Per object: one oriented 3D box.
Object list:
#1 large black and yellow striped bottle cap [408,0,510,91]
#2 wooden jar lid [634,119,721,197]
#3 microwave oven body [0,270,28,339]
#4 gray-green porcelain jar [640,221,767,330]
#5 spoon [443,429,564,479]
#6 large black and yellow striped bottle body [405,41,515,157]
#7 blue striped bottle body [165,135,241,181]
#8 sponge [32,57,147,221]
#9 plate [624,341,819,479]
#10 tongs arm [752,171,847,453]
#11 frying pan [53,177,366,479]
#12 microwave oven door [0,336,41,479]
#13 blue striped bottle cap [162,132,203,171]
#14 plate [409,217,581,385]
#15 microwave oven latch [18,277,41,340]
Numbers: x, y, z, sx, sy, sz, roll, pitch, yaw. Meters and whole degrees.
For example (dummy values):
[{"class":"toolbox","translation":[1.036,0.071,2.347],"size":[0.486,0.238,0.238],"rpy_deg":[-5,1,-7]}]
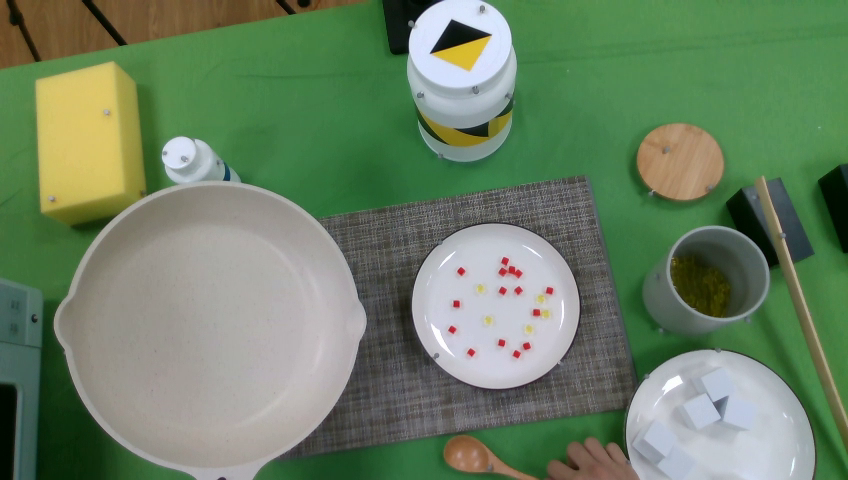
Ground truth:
[{"class":"large black and yellow striped bottle cap","translation":[0.039,-0.222,0.676],"size":[0.115,0.019,0.114],"rpy_deg":[-1,76,5]},{"class":"wooden jar lid","translation":[0.330,-0.106,0.792],"size":[0.108,0.021,0.108],"rpy_deg":[-1,76,5]},{"class":"microwave oven body","translation":[-0.650,0.254,0.651],"size":[0.326,0.261,0.439],"rpy_deg":[-9,75,2]},{"class":"gray-green porcelain jar","translation":[0.313,0.046,0.697],"size":[0.106,0.127,0.105],"rpy_deg":[-1,74,5]},{"class":"spoon","translation":[0.114,0.267,0.702],"size":[0.193,0.022,0.041],"rpy_deg":[17,79,16]},{"class":"large black and yellow striped bottle body","translation":[0.046,-0.197,0.757],"size":[0.130,0.185,0.130],"rpy_deg":[-1,74,5]},{"class":"blue striped bottle body","translation":[-0.291,-0.094,0.791],"size":[0.063,0.121,0.062],"rpy_deg":[-1,74,5]},{"class":"sponge","translation":[-0.469,-0.142,0.850],"size":[0.118,0.061,0.205],"rpy_deg":[-14,75,1]},{"class":"plate","translation":[0.333,0.221,0.693],"size":[0.207,0.039,0.206],"rpy_deg":[-1,74,5]},{"class":"tongs arm","translation":[0.455,0.101,0.686],"size":[0.051,0.026,0.383],"rpy_deg":[-14,84,-1]},{"class":"frying pan","translation":[-0.202,0.181,0.609],"size":[0.309,0.102,0.485],"rpy_deg":[5,71,-33]},{"class":"microwave oven door","translation":[-0.501,0.271,0.628],"size":[0.039,0.245,0.353],"rpy_deg":[-9,74,3]},{"class":"blue striped bottle cap","translation":[-0.297,-0.109,0.742],"size":[0.044,0.021,0.044],"rpy_deg":[-1,77,5]},{"class":"plate","translation":[0.086,0.075,0.751],"size":[0.209,0.038,0.208],"rpy_deg":[-1,75,5]},{"class":"microwave oven latch","translation":[-0.520,0.089,0.785],"size":[0.030,0.029,0.078],"rpy_deg":[-3,75,4]}]
